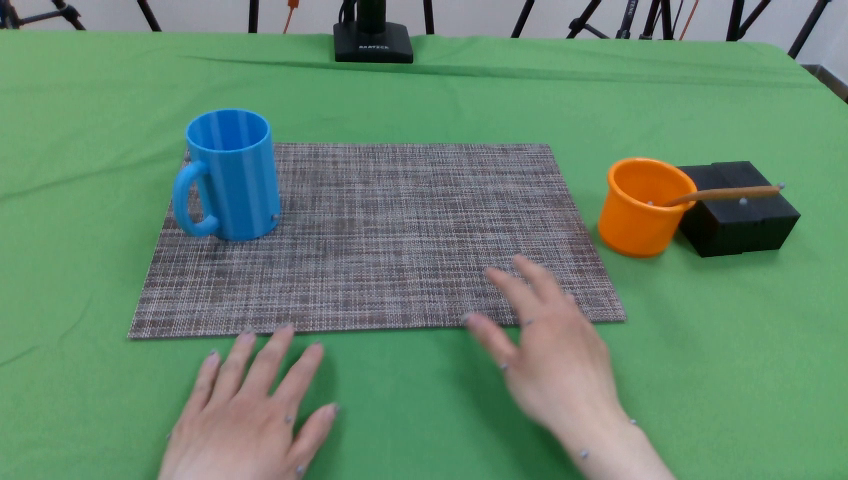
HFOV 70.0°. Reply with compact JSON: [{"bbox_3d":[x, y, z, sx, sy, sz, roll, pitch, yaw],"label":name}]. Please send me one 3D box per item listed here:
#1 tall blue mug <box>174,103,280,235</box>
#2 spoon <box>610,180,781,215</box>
[{"bbox_3d":[-0.187,-0.059,0.592,0.078,0.109,0.106,5,43,-2],"label":"tall blue mug"},{"bbox_3d":[0.260,-0.044,0.604,0.042,0.193,0.021,-18,92,-25],"label":"spoon"}]
